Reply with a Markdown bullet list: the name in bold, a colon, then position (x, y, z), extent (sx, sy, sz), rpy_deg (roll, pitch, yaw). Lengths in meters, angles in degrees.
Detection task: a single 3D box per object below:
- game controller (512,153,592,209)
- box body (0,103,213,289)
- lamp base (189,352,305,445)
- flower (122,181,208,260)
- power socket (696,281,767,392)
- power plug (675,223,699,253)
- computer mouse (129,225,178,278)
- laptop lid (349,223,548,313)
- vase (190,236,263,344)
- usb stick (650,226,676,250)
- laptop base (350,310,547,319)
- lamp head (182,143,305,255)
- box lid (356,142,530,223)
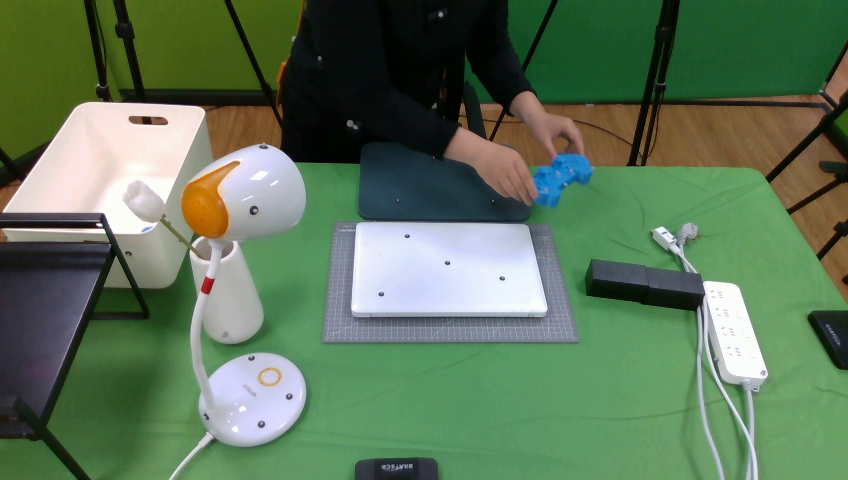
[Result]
- **game controller**: position (0.252, -0.123, 1.168), extent (0.155, 0.052, 0.096), rpy_deg (-34, 56, -25)
- **box body**: position (-0.563, -0.087, 1.139), extent (0.254, 0.161, 0.361), rpy_deg (2, 46, -3)
- **lamp base**: position (-0.268, 0.196, 0.876), extent (0.160, 0.181, 0.179), rpy_deg (25, 52, 20)
- **flower**: position (-0.329, 0.029, 0.905), extent (0.038, 0.364, 0.044), rpy_deg (-21, 58, -1)
- **power socket**: position (0.543, 0.161, 1.077), extent (0.072, 0.033, 0.225), rpy_deg (6, 46, 2)
- **power plug**: position (0.538, 0.000, 1.243), extent (0.053, 0.035, 0.072), rpy_deg (18, 81, -17)
- **computer mouse**: position (-0.500, 0.018, 1.121), extent (0.063, 0.041, 0.116), rpy_deg (4, 53, -5)
- **laptop lid**: position (0.042, 0.046, 1.142), extent (0.357, 0.013, 0.240), rpy_deg (2, 44, -3)
- **vase**: position (-0.317, 0.081, 0.971), extent (0.098, 0.201, 0.097), rpy_deg (3, 47, -3)
- **usb stick**: position (0.485, -0.008, 1.238), extent (0.021, 0.027, 0.059), rpy_deg (-17, 43, -14)
- **laptop base**: position (0.041, 0.056, 1.149), extent (0.355, 0.023, 0.234), rpy_deg (0, 43, -4)
- **lamp head**: position (-0.216, -0.044, 0.697), extent (0.112, 0.113, 0.123), rpy_deg (23, 31, 17)
- **box lid**: position (0.040, -0.132, 1.339), extent (0.372, 0.015, 0.261), rpy_deg (0, 46, -4)
